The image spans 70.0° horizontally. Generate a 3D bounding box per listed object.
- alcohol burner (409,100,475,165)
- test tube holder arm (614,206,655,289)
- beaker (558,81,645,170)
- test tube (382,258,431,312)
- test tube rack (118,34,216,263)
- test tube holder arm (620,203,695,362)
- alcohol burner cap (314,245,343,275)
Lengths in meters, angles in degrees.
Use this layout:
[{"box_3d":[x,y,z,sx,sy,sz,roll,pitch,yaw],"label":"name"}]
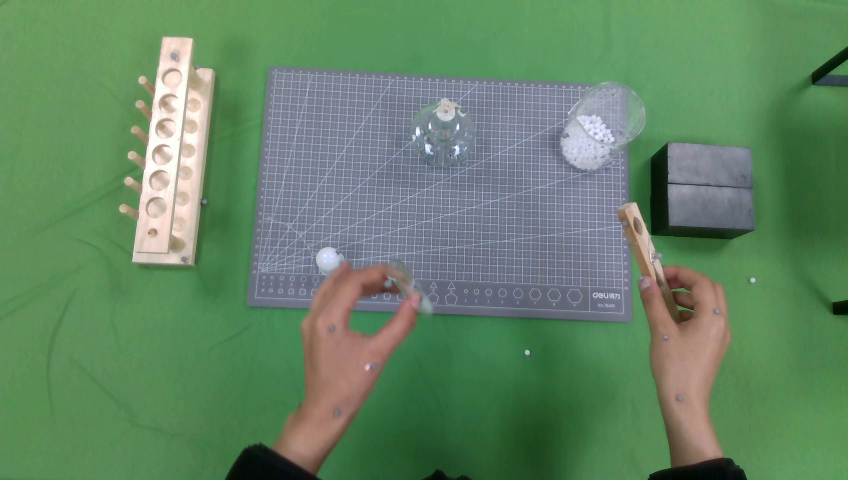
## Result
[{"box_3d":[0.021,-0.129,0.689,0.078,0.119,0.077,0,79,0],"label":"alcohol burner"},{"box_3d":[0.205,0.007,0.583,0.010,0.015,0.088,-30,103,-12],"label":"test tube holder arm"},{"box_3d":[0.198,-0.128,0.705,0.084,0.100,0.073,1,78,-1],"label":"beaker"},{"box_3d":[-0.012,0.042,0.523,0.017,0.151,0.017,-3,72,9],"label":"test tube"},{"box_3d":[-0.294,-0.101,0.685,0.067,0.085,0.241,3,79,-2],"label":"test tube rack"},{"box_3d":[0.231,0.044,0.595,0.013,0.015,0.179,-31,104,-12],"label":"test tube holder arm"},{"box_3d":[-0.111,0.020,0.690,0.034,0.048,0.033,1,79,-3],"label":"alcohol burner cap"}]
